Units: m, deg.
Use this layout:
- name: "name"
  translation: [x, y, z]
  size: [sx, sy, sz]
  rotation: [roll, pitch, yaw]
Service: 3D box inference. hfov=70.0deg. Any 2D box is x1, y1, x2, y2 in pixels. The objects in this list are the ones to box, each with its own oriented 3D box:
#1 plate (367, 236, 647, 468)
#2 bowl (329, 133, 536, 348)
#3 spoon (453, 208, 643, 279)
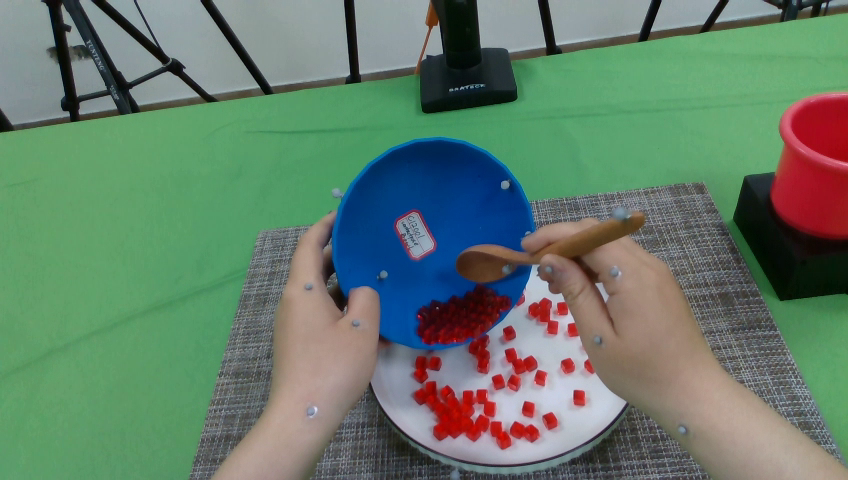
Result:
- name: "plate"
  translation: [0.061, 0.080, 0.467]
  size: [0.207, 0.039, 0.205]
  rotation: [-6, 45, 6]
- name: "bowl"
  translation: [-0.001, -0.001, 0.456]
  size: [0.151, 0.152, 0.076]
  rotation: [-24, 12, -14]
- name: "spoon"
  translation: [0.067, 0.006, 0.370]
  size: [0.042, 0.193, 0.021]
  rotation: [25, 76, -16]
